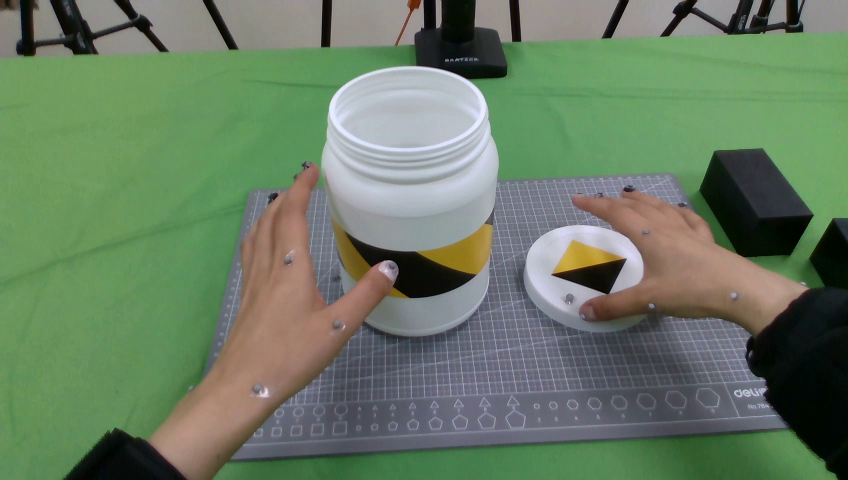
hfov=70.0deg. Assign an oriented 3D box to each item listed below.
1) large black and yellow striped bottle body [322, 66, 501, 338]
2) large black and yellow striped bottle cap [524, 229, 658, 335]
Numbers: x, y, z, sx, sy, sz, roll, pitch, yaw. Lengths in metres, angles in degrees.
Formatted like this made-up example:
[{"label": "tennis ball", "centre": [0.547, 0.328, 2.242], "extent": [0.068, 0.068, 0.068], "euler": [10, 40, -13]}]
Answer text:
[{"label": "large black and yellow striped bottle body", "centre": [-0.008, -0.026, 0.474], "extent": [0.131, 0.185, 0.129], "euler": [0, 45, 1]}, {"label": "large black and yellow striped bottle cap", "centre": [0.146, 0.033, 0.534], "extent": [0.115, 0.019, 0.114], "euler": [0, 43, 0]}]
